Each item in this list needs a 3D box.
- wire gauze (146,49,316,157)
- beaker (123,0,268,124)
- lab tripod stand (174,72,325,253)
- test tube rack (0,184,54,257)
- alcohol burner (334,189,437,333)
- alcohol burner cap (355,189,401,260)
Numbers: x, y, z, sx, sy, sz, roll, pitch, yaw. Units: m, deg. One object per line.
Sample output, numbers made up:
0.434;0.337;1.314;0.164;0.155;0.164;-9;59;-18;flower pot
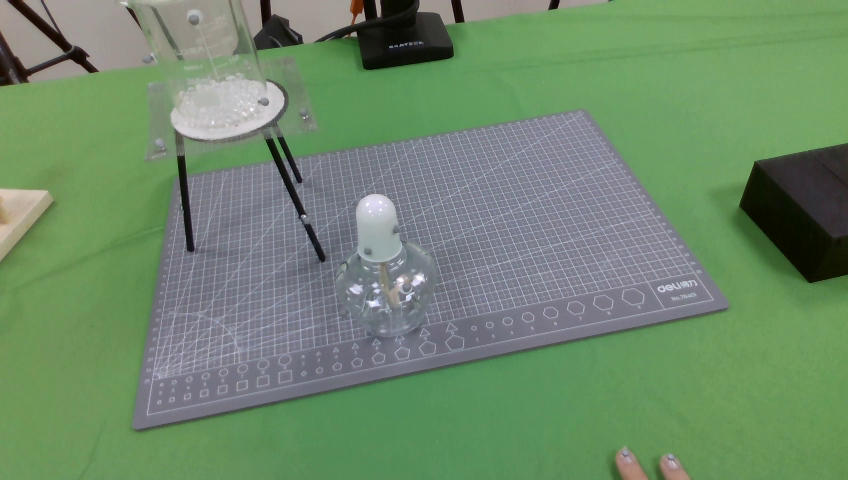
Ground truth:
-0.154;-0.108;0.473;0.125;0.011;0.120;-16;43;-7;wire gauze
-0.161;-0.142;0.438;0.084;0.101;0.073;-15;45;-8;beaker
-0.149;-0.062;0.519;0.148;0.133;0.147;-3;46;3;lab tripod stand
-0.432;0.006;0.514;0.066;0.086;0.240;3;45;8;test tube rack
-0.030;0.012;0.446;0.078;0.120;0.077;-3;42;3;alcohol burner
-0.033;-0.013;0.421;0.034;0.048;0.033;-1;41;1;alcohol burner cap
